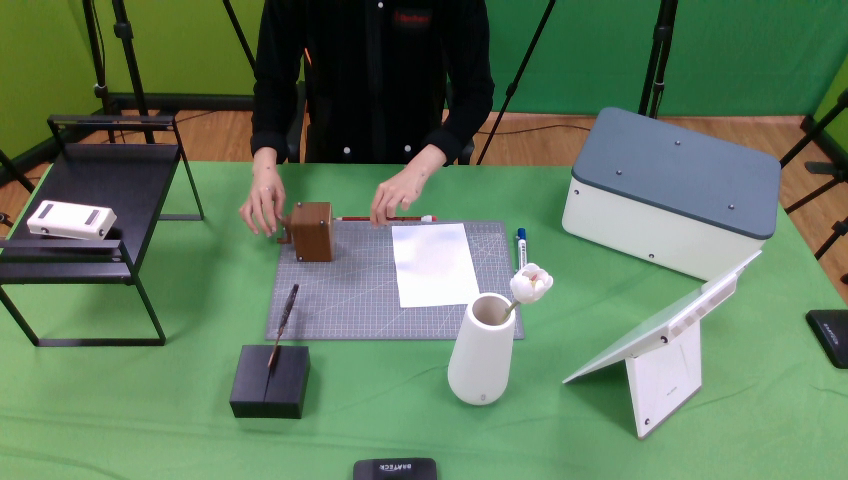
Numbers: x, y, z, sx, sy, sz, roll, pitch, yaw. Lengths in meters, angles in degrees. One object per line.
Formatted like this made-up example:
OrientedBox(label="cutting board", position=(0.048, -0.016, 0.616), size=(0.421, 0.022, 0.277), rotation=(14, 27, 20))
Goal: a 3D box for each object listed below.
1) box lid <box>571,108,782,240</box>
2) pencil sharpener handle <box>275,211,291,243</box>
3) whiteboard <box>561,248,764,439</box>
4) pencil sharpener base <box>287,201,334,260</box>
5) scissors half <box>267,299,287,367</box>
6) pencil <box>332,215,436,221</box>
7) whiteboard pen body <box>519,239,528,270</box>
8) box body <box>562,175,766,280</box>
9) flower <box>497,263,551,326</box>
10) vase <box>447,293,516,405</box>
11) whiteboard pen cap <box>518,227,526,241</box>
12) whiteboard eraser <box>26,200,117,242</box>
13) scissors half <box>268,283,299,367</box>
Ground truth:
OrientedBox(label="box lid", position=(0.491, -0.139, 1.168), size=(0.370, 0.015, 0.262), rotation=(21, 49, 15))
OrientedBox(label="pencil sharpener handle", position=(-0.262, -0.022, 1.118), size=(0.031, 0.068, 0.036), rotation=(-1, 37, -4))
OrientedBox(label="whiteboard", position=(0.386, 0.176, 0.905), size=(0.217, 0.306, 0.143), rotation=(-26, 72, -27))
OrientedBox(label="pencil sharpener base", position=(-0.211, -0.016, 1.133), size=(0.077, 0.107, 0.061), rotation=(-1, 47, -4))
OrientedBox(label="scissors half", position=(-0.239, 0.150, 0.997), size=(0.013, 0.040, 0.174), rotation=(24, 24, -13))
OrientedBox(label="pencil", position=(-0.074, -0.041, 1.125), size=(0.194, 0.012, 0.012), rotation=(0, 47, -4))
OrientedBox(label="whiteboard pen body", position=(0.193, 0.035, 1.181), size=(0.017, 0.017, 0.140), rotation=(6, 48, 1))
OrientedBox(label="box body", position=(0.486, -0.088, 1.222), size=(0.363, 0.161, 0.253), rotation=(20, 48, 15))
OrientedBox(label="flower", position=(0.102, 0.121, 0.852), size=(0.044, 0.363, 0.038), rotation=(-2, 64, -10))
OrientedBox(label="vase", position=(0.091, 0.169, 0.921), size=(0.098, 0.201, 0.097), rotation=(3, 47, -3))
OrientedBox(label="whiteboard pen cap", position=(0.197, -0.009, 1.220), size=(0.018, 0.018, 0.033), rotation=(5, 51, 1))
OrientedBox(label="whiteboard eraser", position=(-0.532, -0.026, 0.919), size=(0.113, 0.042, 0.055), rotation=(7, 45, 3))
OrientedBox(label="scissors half", position=(-0.230, 0.135, 0.986), size=(0.013, 0.040, 0.174), rotation=(19, 43, -11))
